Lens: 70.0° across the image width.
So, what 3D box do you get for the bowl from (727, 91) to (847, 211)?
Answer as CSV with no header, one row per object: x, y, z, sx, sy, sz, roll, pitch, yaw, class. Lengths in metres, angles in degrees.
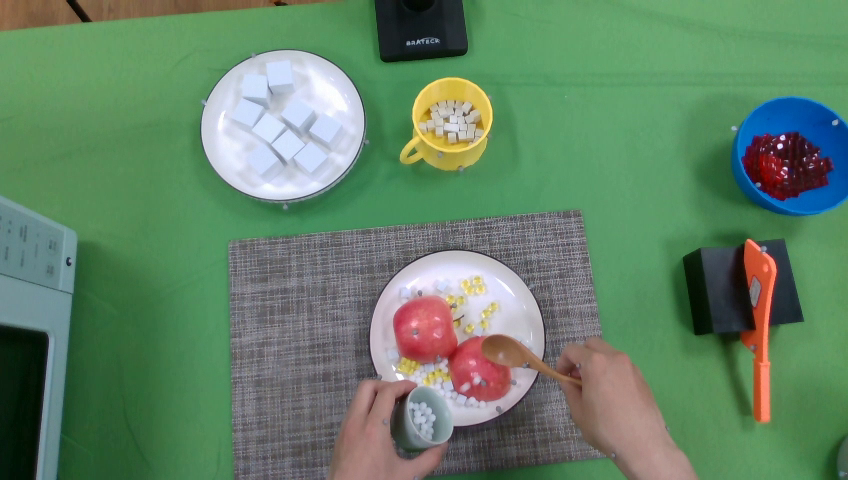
0.443,-0.100,0.755,0.151,0.077,0.150,0,78,0,bowl

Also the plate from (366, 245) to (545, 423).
0.036,0.110,0.720,0.209,0.038,0.208,0,78,-1,plate

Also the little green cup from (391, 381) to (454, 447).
-0.004,0.182,0.628,0.062,0.039,0.061,20,41,-18,little green cup

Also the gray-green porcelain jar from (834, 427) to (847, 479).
0.526,0.247,0.653,0.106,0.127,0.105,0,77,-1,gray-green porcelain jar

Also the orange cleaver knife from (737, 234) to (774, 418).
0.384,0.100,0.707,0.012,0.077,0.212,-4,101,3,orange cleaver knife

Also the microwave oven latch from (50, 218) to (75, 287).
-0.438,0.015,0.722,0.030,0.029,0.079,0,78,-1,microwave oven latch

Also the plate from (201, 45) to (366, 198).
-0.178,-0.150,0.781,0.208,0.039,0.206,0,77,0,plate

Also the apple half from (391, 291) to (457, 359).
-0.002,0.098,0.707,0.075,0.053,0.080,-8,78,0,apple half

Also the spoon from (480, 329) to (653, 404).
0.142,0.135,0.634,0.192,0.042,0.021,18,31,37,spoon

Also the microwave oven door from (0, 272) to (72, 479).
-0.430,0.205,0.575,0.039,0.245,0.354,-3,77,-1,microwave oven door

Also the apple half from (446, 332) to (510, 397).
0.064,0.145,0.706,0.081,0.033,0.081,0,74,0,apple half

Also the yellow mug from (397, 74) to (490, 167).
0.020,-0.142,0.767,0.131,0.064,0.099,-37,79,-8,yellow mug

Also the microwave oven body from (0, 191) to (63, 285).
-0.578,0.170,0.586,0.326,0.261,0.439,-2,78,-2,microwave oven body
